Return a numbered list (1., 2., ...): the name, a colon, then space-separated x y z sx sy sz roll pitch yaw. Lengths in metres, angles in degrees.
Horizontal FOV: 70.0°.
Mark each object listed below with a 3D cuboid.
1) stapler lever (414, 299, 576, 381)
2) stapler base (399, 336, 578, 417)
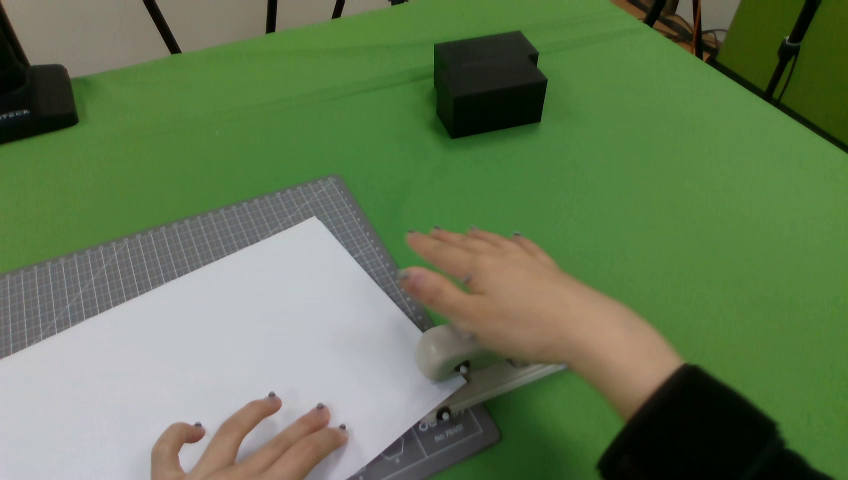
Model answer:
1. stapler lever: 0.049 0.062 0.403 0.118 0.040 0.026 -16 50 -21
2. stapler base: 0.047 0.081 0.420 0.131 0.024 0.041 -16 51 -21
